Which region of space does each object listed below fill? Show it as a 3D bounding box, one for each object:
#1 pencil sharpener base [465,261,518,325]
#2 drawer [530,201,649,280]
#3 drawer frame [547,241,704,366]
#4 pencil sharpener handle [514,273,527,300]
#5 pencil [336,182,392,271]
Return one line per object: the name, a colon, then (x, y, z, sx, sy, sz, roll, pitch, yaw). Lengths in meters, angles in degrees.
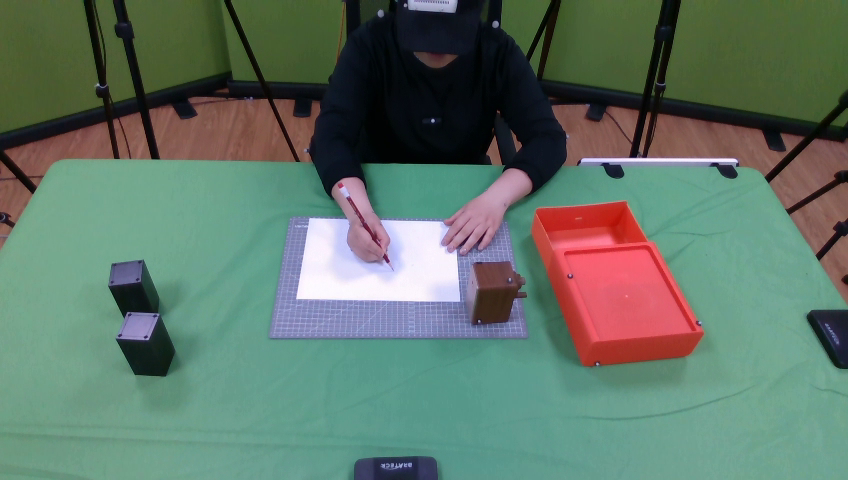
pencil sharpener base: (0.117, 0.093, 1.052, 0.077, 0.107, 0.061, -3, 46, -7)
drawer: (0.329, 0.024, 1.159, 0.195, 0.073, 0.210, -5, 46, -9)
drawer frame: (0.348, 0.106, 1.077, 0.202, 0.083, 0.212, -4, 47, -9)
pencil sharpener handle: (0.169, 0.081, 1.051, 0.031, 0.068, 0.035, -3, 48, -7)
pencil: (-0.109, -0.023, 1.120, 0.012, 0.194, 0.012, -28, 15, 8)
